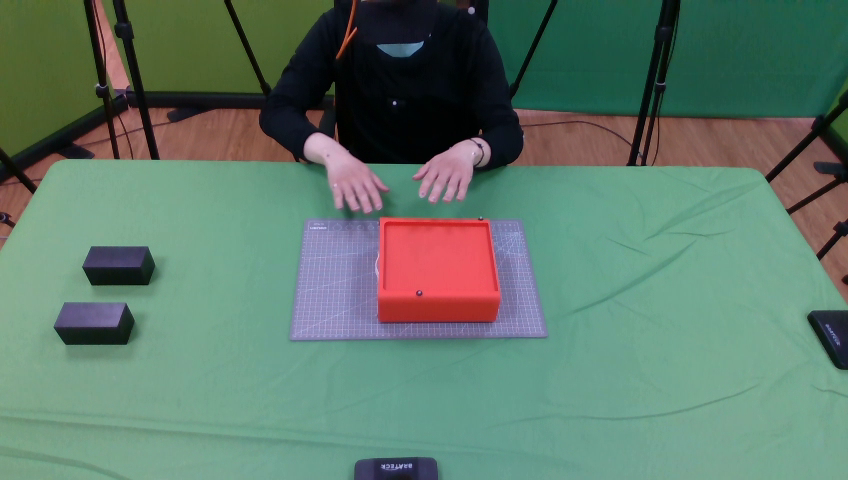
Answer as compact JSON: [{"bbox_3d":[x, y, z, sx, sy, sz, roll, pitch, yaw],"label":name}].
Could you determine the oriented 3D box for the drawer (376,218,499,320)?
[{"bbox_3d":[0.019,0.050,1.102,0.212,0.073,0.193,1,46,-3],"label":"drawer"}]

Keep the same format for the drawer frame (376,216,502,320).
[{"bbox_3d":[0.021,0.049,1.102,0.214,0.083,0.200,1,46,-4],"label":"drawer frame"}]

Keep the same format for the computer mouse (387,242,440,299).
[{"bbox_3d":[-0.018,0.053,1.113,0.062,0.041,0.117,26,58,9],"label":"computer mouse"}]
